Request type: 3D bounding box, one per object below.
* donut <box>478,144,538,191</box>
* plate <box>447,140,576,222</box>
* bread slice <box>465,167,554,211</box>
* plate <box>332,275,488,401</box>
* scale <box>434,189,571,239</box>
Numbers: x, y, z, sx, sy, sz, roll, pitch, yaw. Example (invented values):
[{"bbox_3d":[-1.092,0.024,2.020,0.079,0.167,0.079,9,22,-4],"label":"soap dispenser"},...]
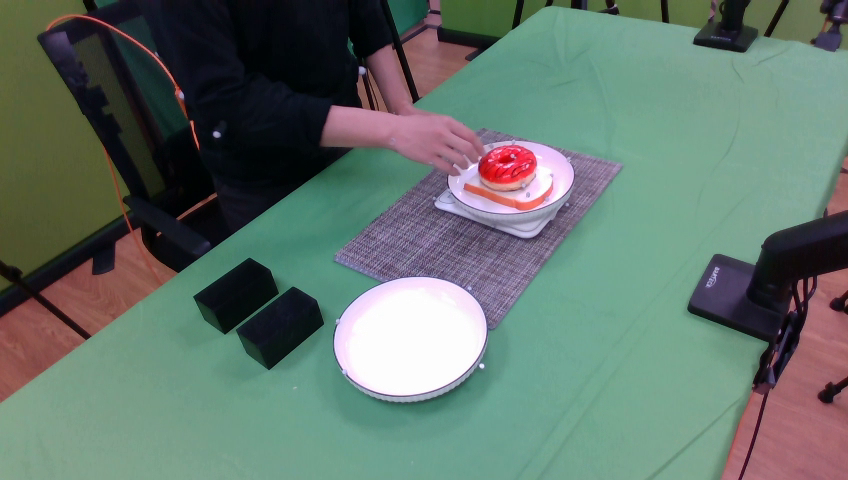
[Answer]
[{"bbox_3d":[0.135,-0.119,0.983,0.099,0.048,0.098,-7,41,7],"label":"donut"},{"bbox_3d":[0.144,-0.094,0.995,0.209,0.038,0.208,-4,41,4],"label":"plate"},{"bbox_3d":[0.149,-0.095,0.999,0.130,0.019,0.105,25,52,32],"label":"bread slice"},{"bbox_3d":[-0.017,0.131,0.808,0.207,0.039,0.206,-4,41,4],"label":"plate"},{"bbox_3d":[0.132,-0.075,1.025,0.199,0.032,0.149,22,48,30],"label":"scale"}]
